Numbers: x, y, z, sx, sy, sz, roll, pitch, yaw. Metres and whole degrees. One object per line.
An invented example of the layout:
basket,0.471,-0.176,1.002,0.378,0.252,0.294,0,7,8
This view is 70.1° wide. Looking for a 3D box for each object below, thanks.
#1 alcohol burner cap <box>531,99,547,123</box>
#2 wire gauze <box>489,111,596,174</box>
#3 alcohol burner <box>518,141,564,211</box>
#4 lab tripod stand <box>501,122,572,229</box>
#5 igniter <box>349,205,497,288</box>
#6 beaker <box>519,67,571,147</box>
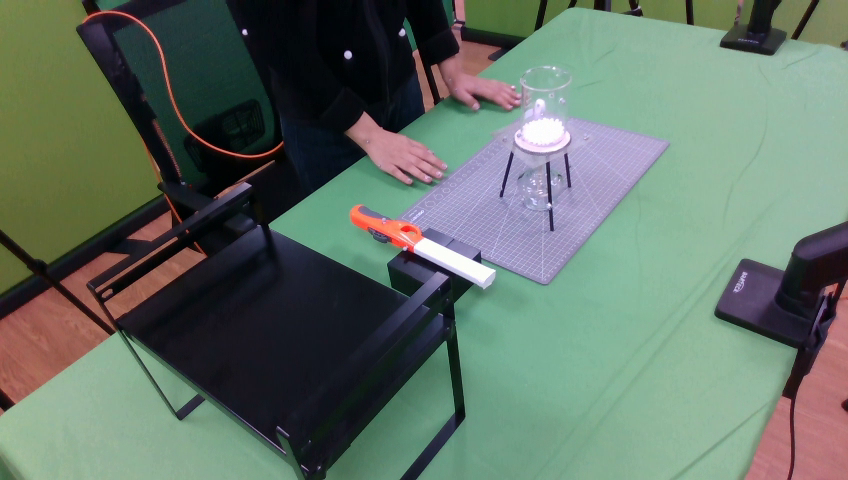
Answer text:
alcohol burner cap,0.234,-0.264,1.231,0.034,0.048,0.033,-5,41,5
wire gauze,0.183,-0.159,0.943,0.122,0.011,0.124,-25,47,-17
alcohol burner,0.193,-0.109,0.999,0.078,0.119,0.077,-5,38,5
lab tripod stand,0.194,-0.110,0.985,0.148,0.132,0.147,-3,42,3
igniter,-0.013,0.004,0.897,0.274,0.025,0.057,25,44,32
beaker,0.184,-0.201,0.917,0.073,0.101,0.084,26,51,31
